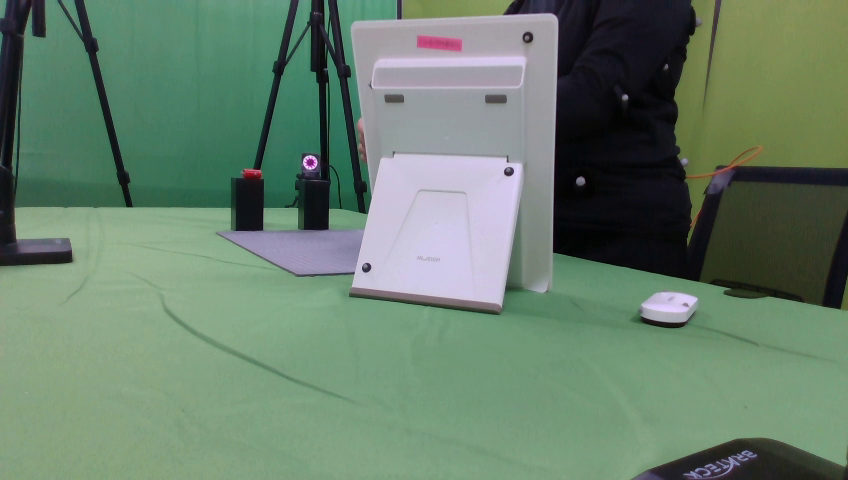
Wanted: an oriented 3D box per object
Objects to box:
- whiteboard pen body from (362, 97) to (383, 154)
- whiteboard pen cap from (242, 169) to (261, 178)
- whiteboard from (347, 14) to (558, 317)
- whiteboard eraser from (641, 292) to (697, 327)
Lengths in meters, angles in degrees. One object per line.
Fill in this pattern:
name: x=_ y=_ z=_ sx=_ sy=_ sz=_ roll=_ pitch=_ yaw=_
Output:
whiteboard pen body: x=-0.087 y=-0.196 z=1.039 sx=0.017 sy=0.017 sz=0.140 roll=0 pitch=51 yaw=-23
whiteboard pen cap: x=-0.327 y=-0.126 z=1.144 sx=0.032 sy=0.017 sz=0.017 roll=-1 pitch=8 yaw=-36
whiteboard: x=0.012 y=-0.056 z=0.609 sx=0.216 sy=0.305 sz=0.144 roll=5 pitch=27 yaw=20
whiteboard eraser: x=0.240 y=0.066 z=0.590 sx=0.041 sy=0.019 sz=0.102 roll=6 pitch=7 yaw=31
